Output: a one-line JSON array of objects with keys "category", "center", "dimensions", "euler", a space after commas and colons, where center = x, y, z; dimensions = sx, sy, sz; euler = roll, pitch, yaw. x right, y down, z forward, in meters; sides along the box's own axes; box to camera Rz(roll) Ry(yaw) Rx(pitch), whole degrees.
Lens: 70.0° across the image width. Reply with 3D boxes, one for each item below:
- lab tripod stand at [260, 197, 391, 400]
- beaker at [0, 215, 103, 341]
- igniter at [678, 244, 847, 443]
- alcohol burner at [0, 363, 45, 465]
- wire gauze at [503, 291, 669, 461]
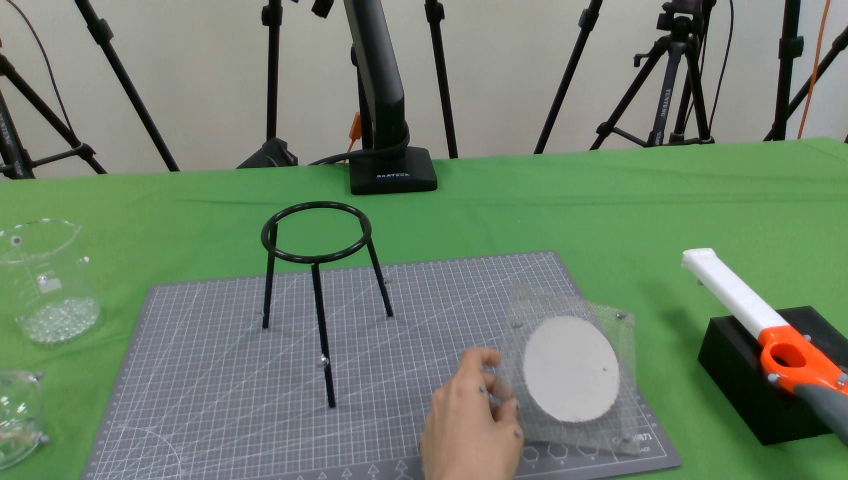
[{"category": "lab tripod stand", "center": [-0.087, 0.042, 0.531], "dimensions": [0.148, 0.132, 0.147], "euler": [2, 35, -1]}, {"category": "beaker", "center": [-0.351, 0.036, 0.571], "dimensions": [0.073, 0.101, 0.084], "euler": [26, 41, 32]}, {"category": "igniter", "center": [0.290, 0.081, 0.495], "dimensions": [0.057, 0.025, 0.273], "euler": [-6, 31, -6]}, {"category": "alcohol burner", "center": [-0.329, 0.111, 0.447], "dimensions": [0.078, 0.120, 0.077], "euler": [2, 32, -1]}, {"category": "wire gauze", "center": [0.129, 0.101, 0.475], "dimensions": [0.126, 0.011, 0.120], "euler": [-2, 65, -24]}]
